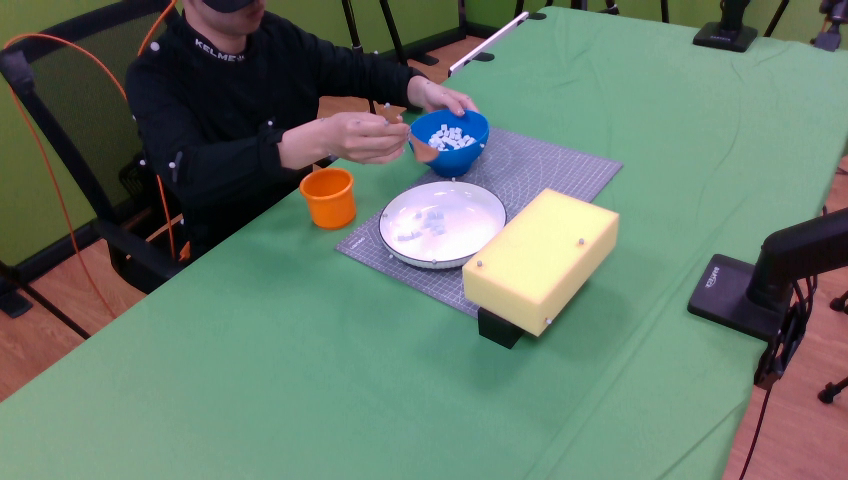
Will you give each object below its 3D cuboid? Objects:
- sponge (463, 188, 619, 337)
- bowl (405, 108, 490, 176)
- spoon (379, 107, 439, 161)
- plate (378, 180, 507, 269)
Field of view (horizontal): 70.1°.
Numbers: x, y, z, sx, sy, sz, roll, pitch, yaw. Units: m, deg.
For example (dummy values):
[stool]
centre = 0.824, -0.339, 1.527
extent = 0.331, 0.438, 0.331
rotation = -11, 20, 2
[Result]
[sponge]
centre = 0.160, 0.022, 0.814
extent = 0.117, 0.061, 0.207
rotation = 25, 50, 32
[bowl]
centre = 0.047, -0.169, 1.099
extent = 0.151, 0.077, 0.150
rotation = -6, 40, 5
[spoon]
centre = -0.024, -0.159, 0.919
extent = 0.041, 0.195, 0.021
rotation = -23, 66, 17
[plate]
centre = 0.031, -0.022, 0.974
extent = 0.209, 0.038, 0.208
rotation = -4, 40, 4
